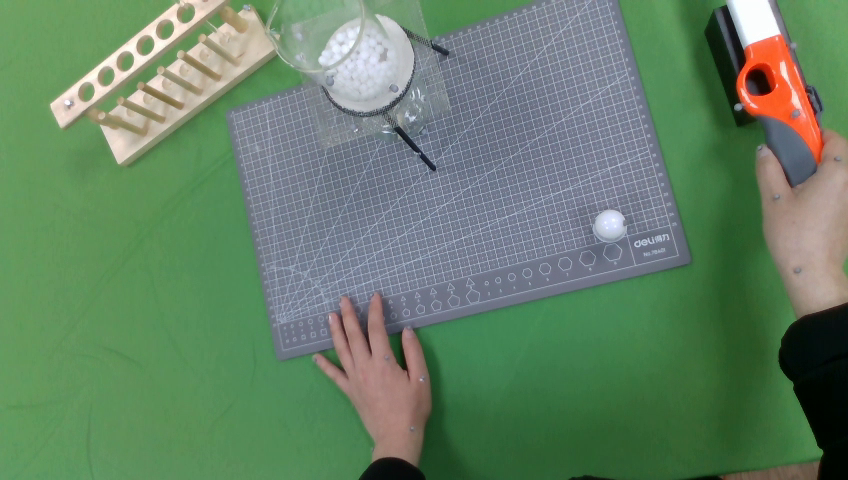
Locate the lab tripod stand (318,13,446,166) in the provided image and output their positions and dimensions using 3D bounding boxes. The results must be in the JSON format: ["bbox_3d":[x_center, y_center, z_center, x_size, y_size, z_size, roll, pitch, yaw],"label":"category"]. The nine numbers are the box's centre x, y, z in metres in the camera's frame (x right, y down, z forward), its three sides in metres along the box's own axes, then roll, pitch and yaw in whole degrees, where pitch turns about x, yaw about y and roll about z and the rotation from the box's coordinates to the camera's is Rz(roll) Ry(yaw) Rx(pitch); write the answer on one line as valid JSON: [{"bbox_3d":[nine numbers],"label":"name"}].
[{"bbox_3d":[-0.033,-0.150,0.595,0.148,0.132,0.148,-1,87,13],"label":"lab tripod stand"}]

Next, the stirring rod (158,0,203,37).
[{"bbox_3d":[-0.274,-0.253,0.611,0.006,0.177,0.014,-31,73,5],"label":"stirring rod"}]

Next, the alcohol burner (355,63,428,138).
[{"bbox_3d":[-0.037,-0.144,0.606,0.078,0.119,0.078,-1,86,13],"label":"alcohol burner"}]

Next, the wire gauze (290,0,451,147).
[{"bbox_3d":[-0.050,-0.155,0.532,0.125,0.011,0.121,-15,87,11],"label":"wire gauze"}]

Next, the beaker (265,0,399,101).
[{"bbox_3d":[-0.068,-0.157,0.486,0.084,0.100,0.074,-2,87,15],"label":"beaker"}]

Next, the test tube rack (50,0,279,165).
[{"bbox_3d":[-0.295,-0.186,0.694,0.242,0.085,0.066,-32,79,11],"label":"test tube rack"}]

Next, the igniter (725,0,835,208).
[{"bbox_3d":[0.291,-0.162,0.518,0.057,0.025,0.275,-16,80,16],"label":"igniter"}]

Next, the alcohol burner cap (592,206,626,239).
[{"bbox_3d":[0.178,-0.018,0.580,0.034,0.048,0.034,-1,86,14],"label":"alcohol burner cap"}]
